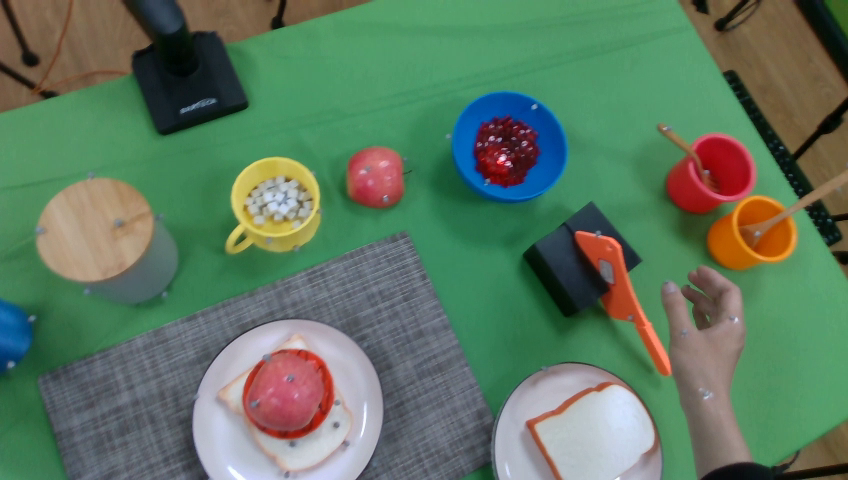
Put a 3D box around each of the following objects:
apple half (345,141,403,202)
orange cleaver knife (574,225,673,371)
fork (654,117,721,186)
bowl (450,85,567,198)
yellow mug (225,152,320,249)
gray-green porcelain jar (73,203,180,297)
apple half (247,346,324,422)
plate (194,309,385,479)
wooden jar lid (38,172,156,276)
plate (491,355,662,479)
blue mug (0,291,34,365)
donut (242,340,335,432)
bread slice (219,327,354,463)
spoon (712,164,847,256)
[{"bbox_3d":[-0.064,-0.093,0.775,0.075,0.053,0.080,-1,74,-6],"label":"apple half"},{"bbox_3d":[0.250,0.072,0.761,0.012,0.077,0.212,-34,103,-23],"label":"orange cleaver knife"},{"bbox_3d":[0.349,-0.114,0.795,0.209,0.018,0.028,25,63,-45],"label":"fork"},{"bbox_3d":[0.102,-0.116,0.794,0.152,0.077,0.150,2,74,-8],"label":"bowl"},{"bbox_3d":[-0.188,-0.037,0.732,0.100,0.064,0.130,42,73,5],"label":"yellow mug"},{"bbox_3d":[-0.333,0.004,0.665,0.106,0.127,0.105,3,73,-8],"label":"gray-green porcelain jar"},{"bbox_3d":[-0.144,0.151,0.628,0.081,0.033,0.081,1,78,-4],"label":"apple half"},{"bbox_3d":[-0.149,0.183,0.685,0.208,0.039,0.206,3,74,-8],"label":"plate"},{"bbox_3d":[-0.324,-0.014,0.606,0.108,0.021,0.107,2,72,-7],"label":"wooden jar lid"},{"bbox_3d":[0.179,0.244,0.723,0.209,0.038,0.208,2,74,-8],"label":"plate"},{"bbox_3d":[-0.484,0.098,0.624,0.082,0.106,0.116,38,72,4],"label":"blue mug"},{"bbox_3d":[-0.147,0.159,0.662,0.099,0.048,0.098,3,74,-8],"label":"donut"},{"bbox_3d":[-0.145,0.180,0.687,0.107,0.018,0.134,-40,83,-16],"label":"bread slice"},{"bbox_3d":[0.470,-0.040,0.793,0.041,0.194,0.022,58,29,11],"label":"spoon"}]
